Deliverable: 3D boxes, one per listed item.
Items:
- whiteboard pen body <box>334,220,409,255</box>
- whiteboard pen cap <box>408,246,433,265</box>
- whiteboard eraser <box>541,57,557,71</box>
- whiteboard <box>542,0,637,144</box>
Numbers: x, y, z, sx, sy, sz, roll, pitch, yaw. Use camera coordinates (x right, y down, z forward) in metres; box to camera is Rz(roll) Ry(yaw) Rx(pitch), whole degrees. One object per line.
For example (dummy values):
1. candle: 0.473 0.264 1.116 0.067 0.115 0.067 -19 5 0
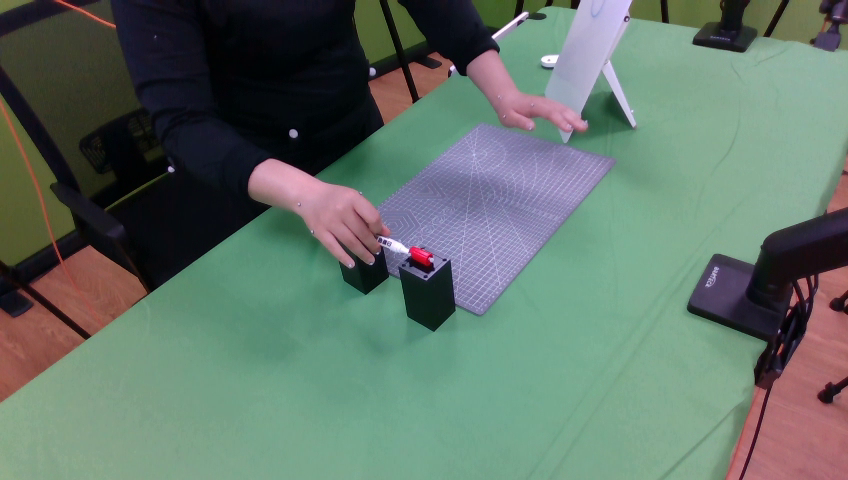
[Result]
1. whiteboard pen body: -0.068 -0.002 0.832 0.139 0.017 0.017 21 48 29
2. whiteboard pen cap: -0.005 0.020 0.795 0.032 0.017 0.017 24 49 35
3. whiteboard eraser: 0.323 -0.412 1.407 0.101 0.019 0.041 1 41 11
4. whiteboard: 0.366 -0.351 1.160 0.144 0.305 0.216 10 39 -10
